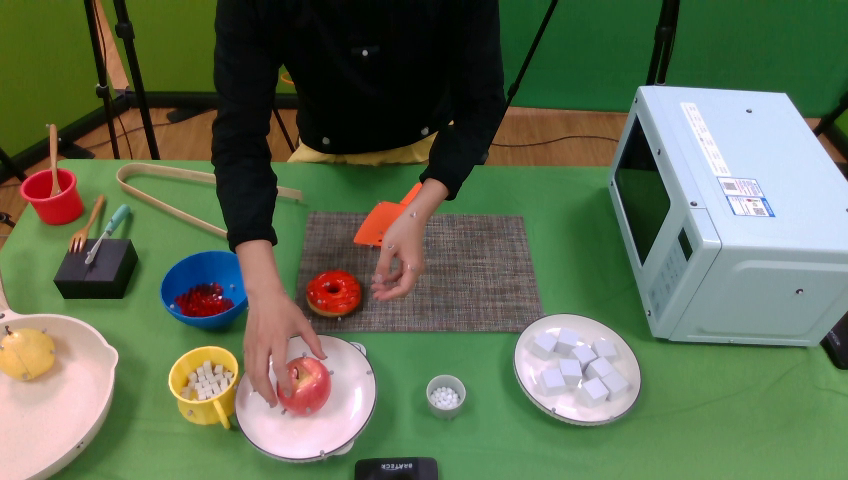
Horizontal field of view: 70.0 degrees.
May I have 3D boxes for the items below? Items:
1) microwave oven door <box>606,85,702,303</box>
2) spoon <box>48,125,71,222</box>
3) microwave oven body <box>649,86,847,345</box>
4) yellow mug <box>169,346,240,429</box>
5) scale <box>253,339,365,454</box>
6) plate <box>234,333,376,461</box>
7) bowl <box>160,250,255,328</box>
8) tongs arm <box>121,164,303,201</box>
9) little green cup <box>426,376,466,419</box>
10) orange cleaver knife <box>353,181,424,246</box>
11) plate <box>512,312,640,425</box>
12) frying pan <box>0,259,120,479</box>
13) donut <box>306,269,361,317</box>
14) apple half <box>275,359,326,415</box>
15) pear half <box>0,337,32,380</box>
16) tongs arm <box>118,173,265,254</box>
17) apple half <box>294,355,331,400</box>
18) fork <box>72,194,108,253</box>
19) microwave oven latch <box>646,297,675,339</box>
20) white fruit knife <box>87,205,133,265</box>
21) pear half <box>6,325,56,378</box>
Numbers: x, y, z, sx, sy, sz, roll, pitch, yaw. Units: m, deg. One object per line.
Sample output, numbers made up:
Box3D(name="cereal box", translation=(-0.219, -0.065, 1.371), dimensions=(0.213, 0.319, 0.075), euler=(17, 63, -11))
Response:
Box3D(name="microwave oven door", translation=(0.422, -0.094, 1.140), dimensions=(0.039, 0.245, 0.353), euler=(2, 46, -1))
Box3D(name="spoon", translation=(-0.718, -0.132, 1.188), dimensions=(0.041, 0.021, 0.193), euler=(-3, 90, -7))
Box3D(name="microwave oven body", translation=(0.567, -0.053, 1.118), dimensions=(0.326, 0.261, 0.439), euler=(2, 45, -1))
Box3D(name="yellow mug", translation=(-0.323, 0.231, 0.922), dimensions=(0.100, 0.064, 0.130), euler=(-24, 53, -26))
Box3D(name="scale", translation=(-0.175, 0.236, 0.951), dimensions=(0.149, 0.032, 0.199), euler=(4, 46, 0))
Box3D(name="plate", translation=(-0.175, 0.235, 0.907), dimensions=(0.209, 0.038, 0.208), euler=(2, 46, -2))
Box3D(name="bowl", translation=(-0.362, 0.098, 1.039), dimensions=(0.151, 0.077, 0.150), euler=(2, 45, -2))
Box3D(name="tongs arm", translation=(-0.444, -0.114, 1.267), dimensions=(0.384, 0.026, 0.050), euler=(12, 51, 8))
Box3D(name="little green cup", translation=(0.033, 0.248, 0.950), dimensions=(0.061, 0.039, 0.061), euler=(2, 46, -2))
Box3D(name="orange cleaver knife", translation=(-0.069, -0.059, 1.245), dimensions=(0.077, 0.012, 0.210), euler=(18, 50, 21))
Box3D(name="plate", translation=(0.246, 0.213, 0.999), dimensions=(0.208, 0.039, 0.206), euler=(2, 46, -2))
Box3D(name="frying pan", translation=(-0.647, 0.164, 0.936), dimensions=(0.307, 0.103, 0.485), euler=(-19, 58, -22))
Box3D(name="donut", translation=(-0.160, 0.094, 1.075), dimensions=(0.099, 0.048, 0.098), euler=(4, 46, -4))
Box3D(name="apple half", translation=(-0.186, 0.222, 0.882), dimensions=(0.080, 0.075, 0.053), euler=(37, 57, 25))
Box3D(name="pear half", translation=(-0.631, 0.184, 0.921), dimensions=(0.070, 0.088, 0.031), euler=(29, 49, 19))
Box3D(name="tongs arm", translation=(-0.473, -0.054, 1.212), dimensions=(0.386, 0.028, 0.028), euler=(23, 57, 18))
Box3D(name="apple half", translation=(-0.159, 0.201, 0.903), dimensions=(0.033, 0.082, 0.081), euler=(-38, 59, -26))
Box3D(name="fork", translation=(-0.634, -0.036, 1.158), dimensions=(0.028, 0.019, 0.206), euler=(-7, 32, -9))
Box3D(name="microwave oven latch", translation=(0.412, 0.134, 1.061), dimensions=(0.030, 0.029, 0.078), euler=(4, 45, 1))
Box3D(name="white fruit knife", translation=(-0.584, -0.013, 1.129), dimensions=(0.016, 0.027, 0.206), euler=(0, 31, -5))
Box3D(name="pear half", translation=(-0.608, 0.158, 0.935), dimensions=(0.076, 0.110, 0.056), euler=(31, 51, 20))
